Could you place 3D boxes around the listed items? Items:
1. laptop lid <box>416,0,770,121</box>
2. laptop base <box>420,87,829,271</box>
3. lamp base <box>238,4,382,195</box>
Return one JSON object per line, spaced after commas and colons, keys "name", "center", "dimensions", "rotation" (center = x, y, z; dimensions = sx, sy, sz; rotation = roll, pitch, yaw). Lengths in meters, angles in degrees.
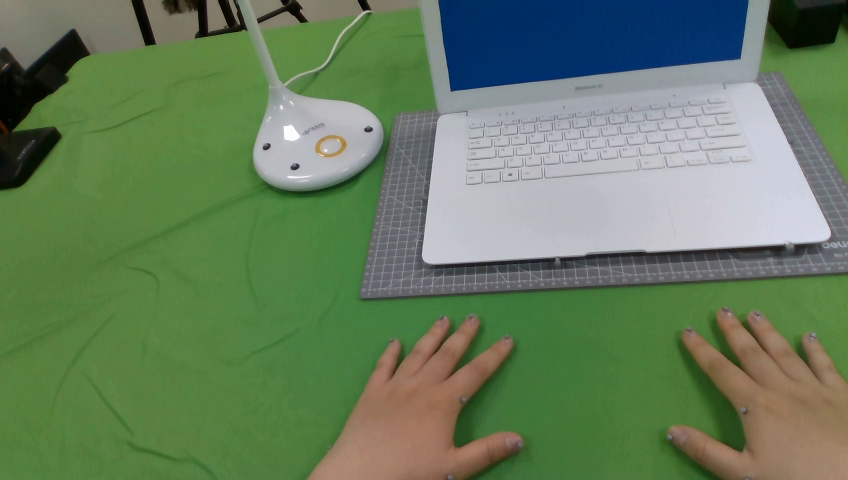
{"name": "laptop lid", "center": [0.169, -0.242, 0.624], "dimensions": [0.356, 0.244, 0.013], "rotation": [-5, 38, 11]}
{"name": "laptop base", "center": [0.178, -0.064, 0.615], "dimensions": [0.354, 0.023, 0.233], "rotation": [-4, 48, 11]}
{"name": "lamp base", "center": [-0.152, -0.168, 0.687], "dimensions": [0.177, 0.182, 0.160], "rotation": [28, 58, 38]}
